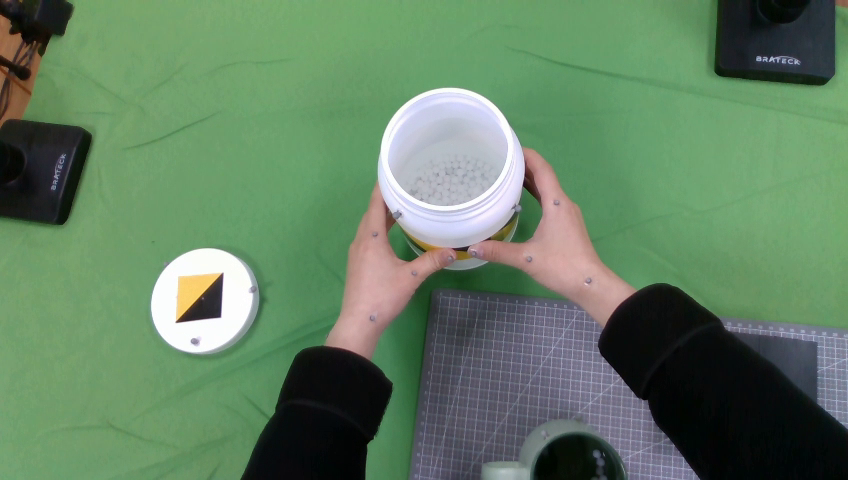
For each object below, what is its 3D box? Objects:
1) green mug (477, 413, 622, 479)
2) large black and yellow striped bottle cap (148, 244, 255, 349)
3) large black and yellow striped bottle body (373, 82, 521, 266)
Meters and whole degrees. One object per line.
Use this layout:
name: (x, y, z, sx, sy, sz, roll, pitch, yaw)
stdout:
green mug: (0.110, 0.204, 0.543, 0.125, 0.105, 0.092, -3, 76, 6)
large black and yellow striped bottle cap: (-0.243, 0.061, 0.659, 0.115, 0.019, 0.114, -1, 76, 6)
large black and yellow striped bottle body: (0.024, -0.056, 0.574, 0.130, 0.185, 0.130, -1, 75, 5)
